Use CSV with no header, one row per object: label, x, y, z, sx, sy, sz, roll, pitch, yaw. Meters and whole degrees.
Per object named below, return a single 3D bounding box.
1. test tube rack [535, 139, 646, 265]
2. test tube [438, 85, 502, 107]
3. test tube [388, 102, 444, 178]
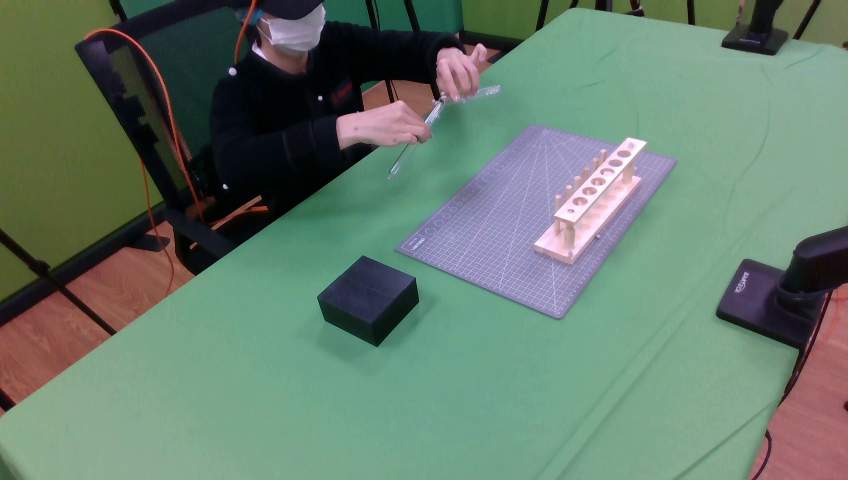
test tube rack,0.269,-0.071,0.964,0.066,0.085,0.243,23,49,32
test tube,0.083,-0.252,1.054,0.151,0.017,0.017,-23,40,-36
test tube,-0.014,-0.167,1.017,0.017,0.017,0.150,38,94,41
